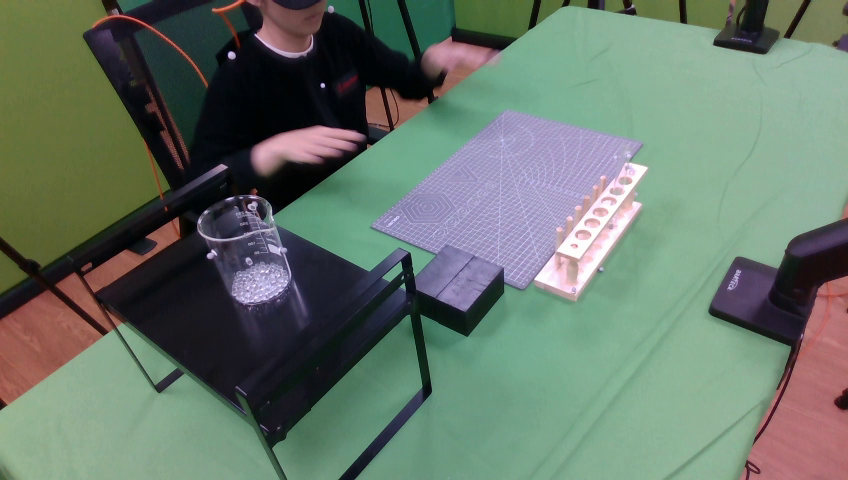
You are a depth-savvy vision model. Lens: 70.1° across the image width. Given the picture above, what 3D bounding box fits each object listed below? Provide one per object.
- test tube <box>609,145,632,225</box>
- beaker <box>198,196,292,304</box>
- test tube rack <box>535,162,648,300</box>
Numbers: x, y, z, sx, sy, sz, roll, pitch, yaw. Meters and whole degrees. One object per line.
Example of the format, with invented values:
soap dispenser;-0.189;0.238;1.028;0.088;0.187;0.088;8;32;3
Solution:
test tube;0.290;-0.078;0.896;0.017;0.151;0.017;-4;46;5
beaker;-0.185;0.014;0.651;0.083;0.101;0.074;9;44;18
test tube rack;0.257;-0.024;0.916;0.066;0.085;0.243;22;49;30
